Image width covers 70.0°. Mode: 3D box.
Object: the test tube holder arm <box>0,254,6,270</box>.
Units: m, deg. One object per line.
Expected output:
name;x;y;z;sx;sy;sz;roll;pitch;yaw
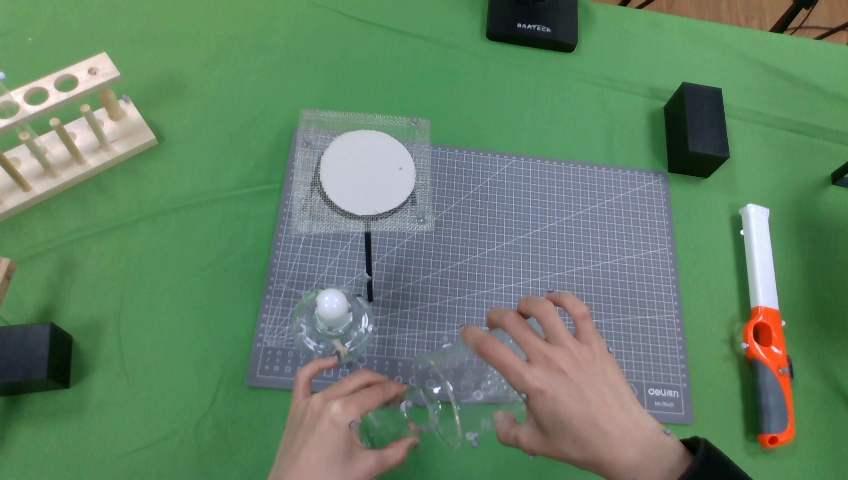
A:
test tube holder arm;-0.392;0.094;0.510;0.013;0.015;0.177;9;65;-4

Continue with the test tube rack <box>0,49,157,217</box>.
test tube rack;-0.407;-0.091;0.603;0.242;0.085;0.066;-33;74;-19

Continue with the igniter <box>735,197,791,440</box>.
igniter;0.370;0.079;0.666;0.057;0.025;0.274;13;66;-13

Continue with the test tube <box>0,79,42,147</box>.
test tube;-0.397;-0.134;0.570;0.017;0.151;0.017;4;62;-7

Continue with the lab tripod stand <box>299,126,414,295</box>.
lab tripod stand;-0.060;-0.034;0.596;0.149;0.132;0.147;3;67;-8

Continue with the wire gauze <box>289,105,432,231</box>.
wire gauze;-0.055;-0.065;0.537;0.122;0.011;0.124;2;68;-7

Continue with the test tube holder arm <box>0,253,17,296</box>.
test tube holder arm;-0.381;0.054;0.530;0.010;0.015;0.087;10;65;-3

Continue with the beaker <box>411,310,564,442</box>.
beaker;0.050;0.102;0.471;0.100;0.084;0.073;-18;72;-21

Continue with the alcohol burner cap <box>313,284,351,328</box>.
alcohol burner cap;-0.081;0.056;0.527;0.034;0.048;0.033;1;70;-3

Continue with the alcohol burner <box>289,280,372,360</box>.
alcohol burner;-0.086;0.069;0.560;0.078;0.120;0.077;4;65;-8

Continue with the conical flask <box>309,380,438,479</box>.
conical flask;-0.039;0.157;0.519;0.076;0.122;0.074;25;47;-30
